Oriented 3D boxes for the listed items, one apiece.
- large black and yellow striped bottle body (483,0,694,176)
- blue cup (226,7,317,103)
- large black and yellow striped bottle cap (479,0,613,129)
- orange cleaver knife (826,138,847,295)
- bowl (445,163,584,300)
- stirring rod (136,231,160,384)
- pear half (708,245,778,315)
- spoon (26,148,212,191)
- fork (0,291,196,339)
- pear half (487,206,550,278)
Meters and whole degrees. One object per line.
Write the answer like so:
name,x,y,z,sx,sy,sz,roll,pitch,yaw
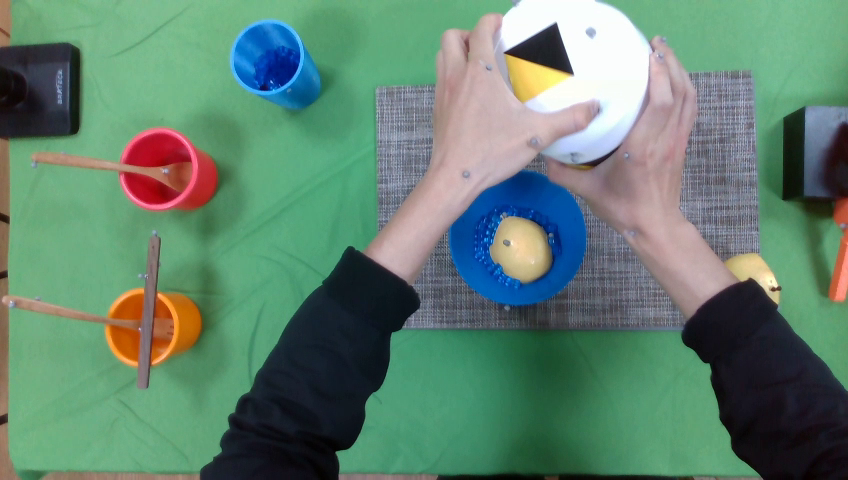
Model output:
large black and yellow striped bottle body,0.147,-0.137,0.542,0.130,0.185,0.130,-7,79,41
blue cup,-0.171,-0.205,0.717,0.092,0.100,0.092,0,87,8
large black and yellow striped bottle cap,0.092,-0.147,0.479,0.114,0.019,0.114,-6,81,43
orange cleaver knife,0.464,-0.042,0.662,0.012,0.077,0.213,1,116,11
bowl,0.102,-0.008,0.693,0.151,0.077,0.151,0,88,6
stirring rod,-0.317,0.077,0.694,0.014,0.006,0.176,4,89,4
pear half,0.344,0.046,0.653,0.056,0.110,0.076,-20,82,5
spoon,-0.349,-0.089,0.709,0.195,0.021,0.041,6,90,-38
fork,-0.368,0.087,0.700,0.209,0.018,0.028,19,99,-38
pear half,0.105,-0.002,0.686,0.070,0.031,0.087,-27,81,1
